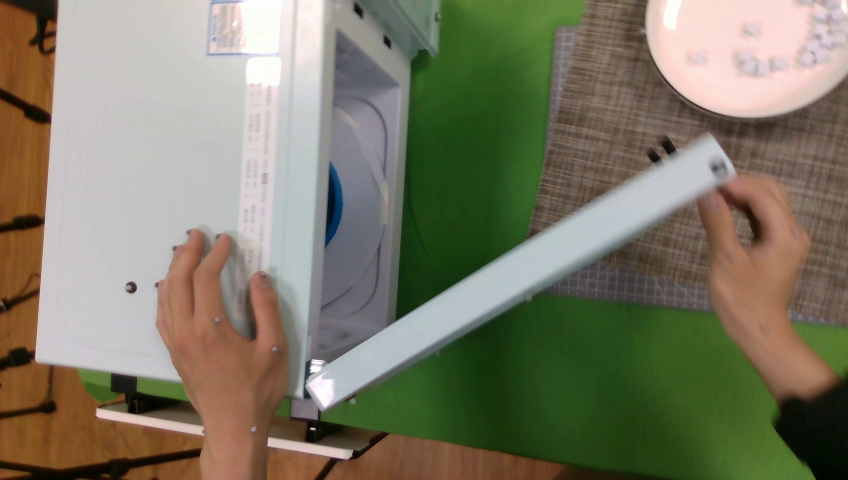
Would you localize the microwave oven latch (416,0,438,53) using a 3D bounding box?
[{"bbox_3d":[0.000,-0.256,0.690,0.030,0.029,0.079,4,90,15],"label":"microwave oven latch"}]

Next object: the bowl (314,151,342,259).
[{"bbox_3d":[-0.150,-0.037,0.657,0.151,0.077,0.151,0,88,14],"label":"bowl"}]

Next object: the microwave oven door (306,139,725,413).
[{"bbox_3d":[0.084,0.037,0.556,0.356,0.245,0.039,-34,79,12],"label":"microwave oven door"}]

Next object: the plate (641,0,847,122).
[{"bbox_3d":[0.330,-0.219,0.615,0.208,0.038,0.209,-1,87,15],"label":"plate"}]

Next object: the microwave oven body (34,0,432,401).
[{"bbox_3d":[-0.180,-0.091,0.634,0.325,0.261,0.441,3,90,15],"label":"microwave oven body"}]
